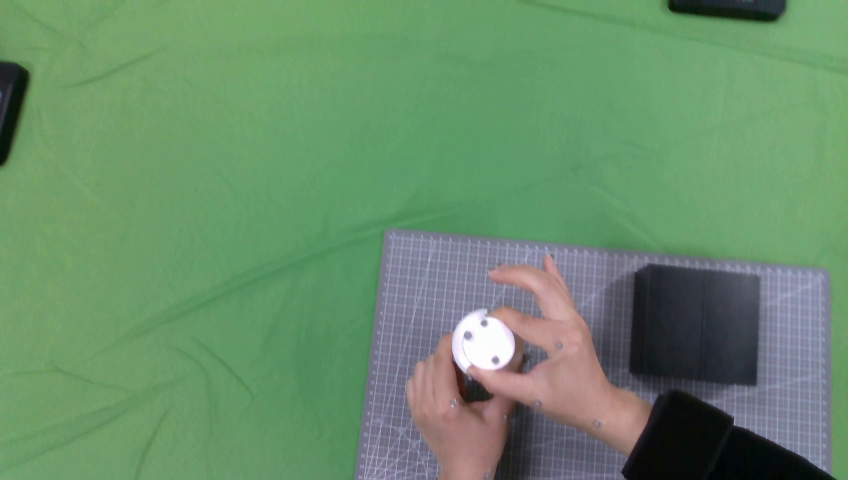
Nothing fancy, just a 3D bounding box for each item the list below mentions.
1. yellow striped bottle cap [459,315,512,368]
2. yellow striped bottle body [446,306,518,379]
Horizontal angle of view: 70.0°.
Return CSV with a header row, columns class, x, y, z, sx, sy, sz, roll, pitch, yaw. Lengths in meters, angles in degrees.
class,x,y,z,sx,sy,sz,roll,pitch,yaw
yellow striped bottle cap,0.051,0.084,0.502,0.044,0.019,0.044,-1,78,4
yellow striped bottle body,0.052,0.095,0.552,0.063,0.121,0.062,-1,77,4
